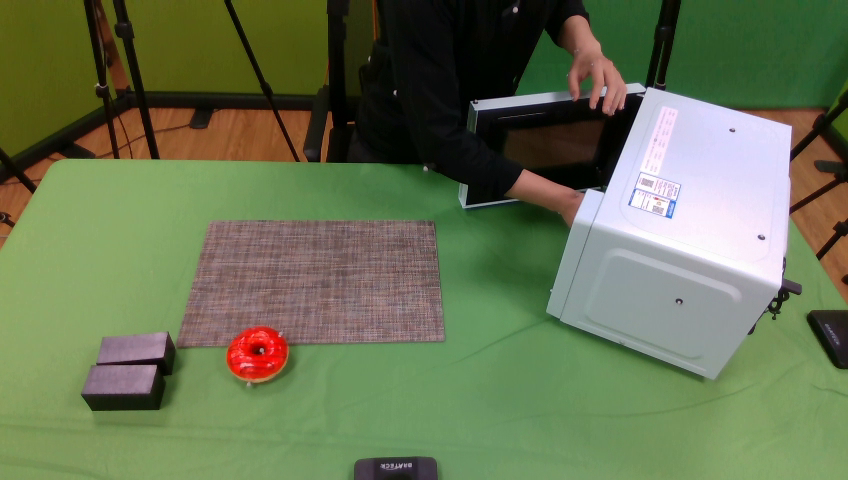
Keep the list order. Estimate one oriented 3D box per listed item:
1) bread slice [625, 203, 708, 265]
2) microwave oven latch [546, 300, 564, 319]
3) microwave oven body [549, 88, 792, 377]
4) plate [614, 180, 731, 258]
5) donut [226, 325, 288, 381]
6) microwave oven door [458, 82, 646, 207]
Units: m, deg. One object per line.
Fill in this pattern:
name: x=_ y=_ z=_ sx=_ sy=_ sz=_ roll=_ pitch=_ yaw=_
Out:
bread slice: x=0.469 y=-0.021 z=1.160 sx=0.131 sy=0.019 sz=0.104 roll=-29 pitch=50 yaw=-3
microwave oven latch: x=0.242 y=0.102 z=1.081 sx=0.030 sy=0.029 sz=0.079 roll=21 pitch=48 yaw=17
microwave oven body: x=0.456 y=-0.028 z=1.088 sx=0.325 sy=0.261 sz=0.440 roll=20 pitch=47 yaw=16
plate: x=0.469 y=-0.037 z=1.156 sx=0.207 sy=0.039 sz=0.206 roll=-3 pitch=43 yaw=3
donut: x=-0.270 y=0.182 z=0.984 sx=0.099 sy=0.048 sz=0.098 roll=5 pitch=49 yaw=-5
microwave oven door: x=0.252 y=-0.190 z=1.221 sx=0.356 sy=0.245 sz=0.039 roll=-9 pitch=48 yaw=-13
